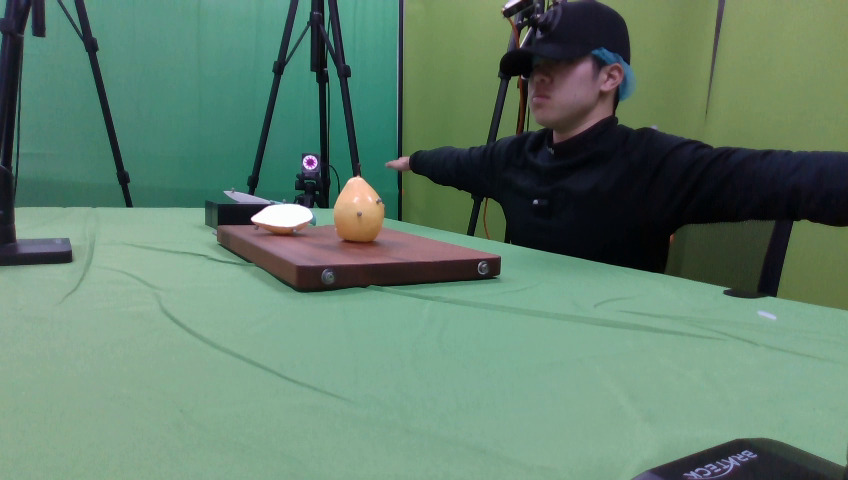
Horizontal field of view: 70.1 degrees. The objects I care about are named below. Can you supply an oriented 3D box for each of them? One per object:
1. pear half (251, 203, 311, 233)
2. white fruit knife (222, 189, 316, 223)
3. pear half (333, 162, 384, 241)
[{"bbox_3d":[-0.212,-0.027,0.900,0.088,0.031,0.070,-16,31,-26],"label":"pear half"},{"bbox_3d":[-0.311,-0.071,1.236,0.208,0.027,0.016,16,6,-37],"label":"white fruit knife"},{"bbox_3d":[-0.085,-0.053,0.842,0.056,0.110,0.076,6,12,28],"label":"pear half"}]
